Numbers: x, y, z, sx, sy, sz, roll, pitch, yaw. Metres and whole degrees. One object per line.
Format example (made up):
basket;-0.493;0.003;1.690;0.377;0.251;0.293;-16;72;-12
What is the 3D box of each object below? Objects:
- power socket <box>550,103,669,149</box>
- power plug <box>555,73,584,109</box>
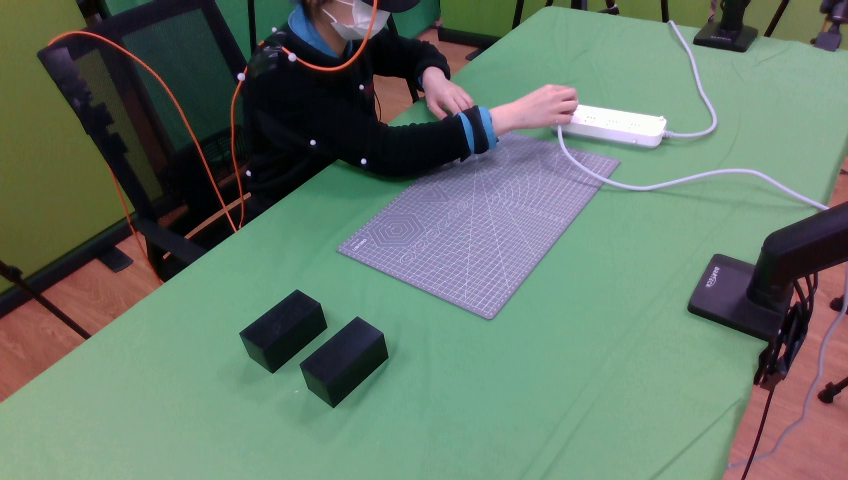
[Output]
power socket;0.353;-0.222;1.169;0.225;0.033;0.072;17;47;25
power plug;0.274;-0.281;1.149;0.035;0.073;0.052;-53;33;-16
